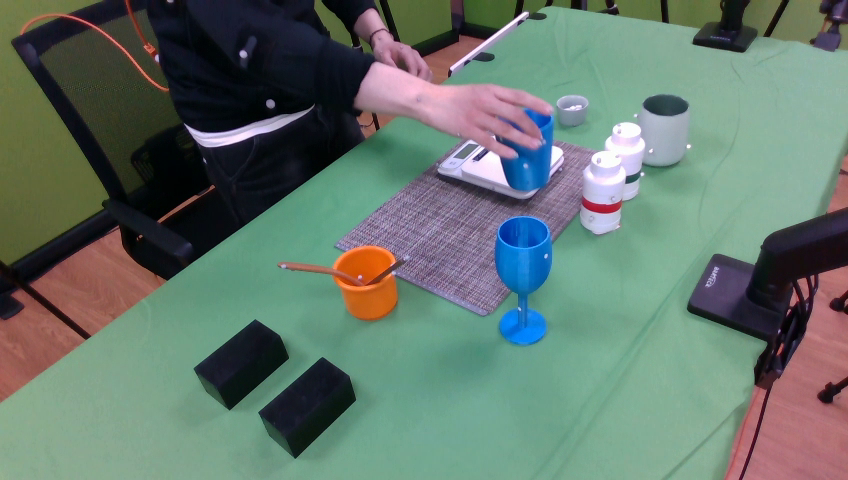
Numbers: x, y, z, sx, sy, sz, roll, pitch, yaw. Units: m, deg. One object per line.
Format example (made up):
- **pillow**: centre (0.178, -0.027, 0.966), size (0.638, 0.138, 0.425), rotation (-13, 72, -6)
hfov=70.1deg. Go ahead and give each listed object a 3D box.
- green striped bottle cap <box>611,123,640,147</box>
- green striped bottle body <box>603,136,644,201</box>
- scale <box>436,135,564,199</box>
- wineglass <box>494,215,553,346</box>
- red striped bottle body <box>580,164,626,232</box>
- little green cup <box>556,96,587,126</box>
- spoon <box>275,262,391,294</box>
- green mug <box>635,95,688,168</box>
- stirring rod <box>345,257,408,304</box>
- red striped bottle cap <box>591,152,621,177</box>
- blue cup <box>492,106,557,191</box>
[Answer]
- **green striped bottle cap**: centre (0.322, -0.168, 0.963), size (0.044, 0.020, 0.044), rotation (-4, 41, 4)
- **green striped bottle body**: centre (0.326, -0.128, 0.997), size (0.063, 0.120, 0.063), rotation (-4, 41, 4)
- **scale**: centre (0.137, -0.142, 1.101), size (0.199, 0.032, 0.149), rotation (22, 48, 30)
- **wineglass**: centre (0.127, 0.055, 0.770), size (0.074, 0.173, 0.073), rotation (-4, 40, 4)
- **red striped bottle body**: centre (0.278, -0.075, 0.942), size (0.063, 0.120, 0.062), rotation (-4, 41, 4)
- **little green cup**: centre (0.295, -0.258, 1.214), size (0.061, 0.039, 0.061), rotation (-4, 42, 4)
- **spoon**: centre (-0.120, 0.050, 0.830), size (0.041, 0.195, 0.021), rotation (31, 97, 45)
- **green mug**: centre (0.421, -0.201, 1.081), size (0.092, 0.105, 0.125), rotation (5, 42, 15)
- **stirring rod**: centre (-0.067, 0.057, 0.814), size (0.014, 0.175, 0.006), rotation (-26, 83, -38)
- **red striped bottle cap**: centre (0.273, -0.114, 0.907), size (0.044, 0.018, 0.044), rotation (-5, 39, 5)
- **blue cup**: centre (0.145, -0.127, 0.868), size (0.092, 0.101, 0.092), rotation (-8, 35, 6)
